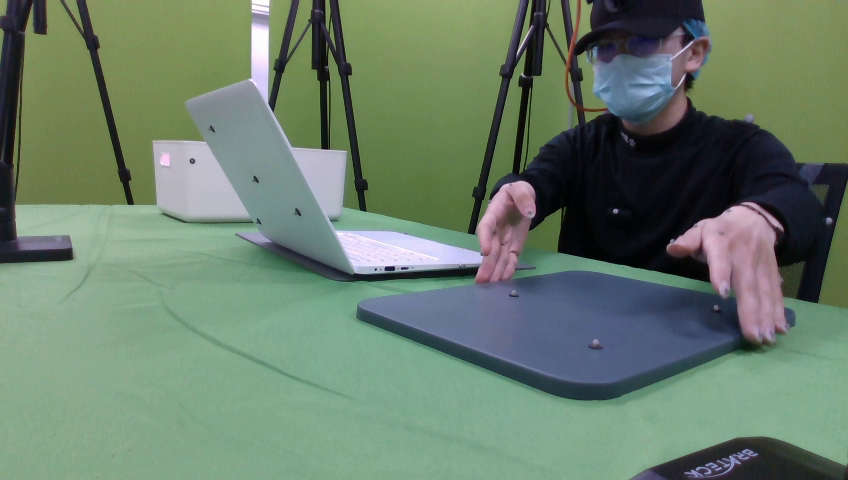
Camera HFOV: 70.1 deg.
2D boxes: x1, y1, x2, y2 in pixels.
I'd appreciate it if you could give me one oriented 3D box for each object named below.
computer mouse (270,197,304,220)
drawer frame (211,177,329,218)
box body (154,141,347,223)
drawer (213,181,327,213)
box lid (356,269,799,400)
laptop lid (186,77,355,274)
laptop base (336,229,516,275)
[{"bbox_3d":[-0.318,-0.074,1.403,0.063,0.041,0.116,4,13,-24],"label":"computer mouse"},{"bbox_3d":[-0.349,-0.099,1.364,0.215,0.082,0.200,-3,9,-32],"label":"drawer frame"},{"bbox_3d":[-0.383,-0.132,1.346,0.366,0.160,0.253,-3,9,-36],"label":"box body"},{"bbox_3d":[-0.349,-0.099,1.366,0.213,0.073,0.193,-3,8,-31],"label":"drawer"},{"bbox_3d":[0.152,0.068,0.564,0.374,0.015,0.262,-4,10,-41],"label":"box lid"},{"bbox_3d":[-0.211,-0.081,0.772,0.013,0.242,0.355,-35,25,-23],"label":"laptop lid"},{"bbox_3d":[-0.065,0.014,0.877,0.237,0.023,0.352,2,7,-32],"label":"laptop base"}]
